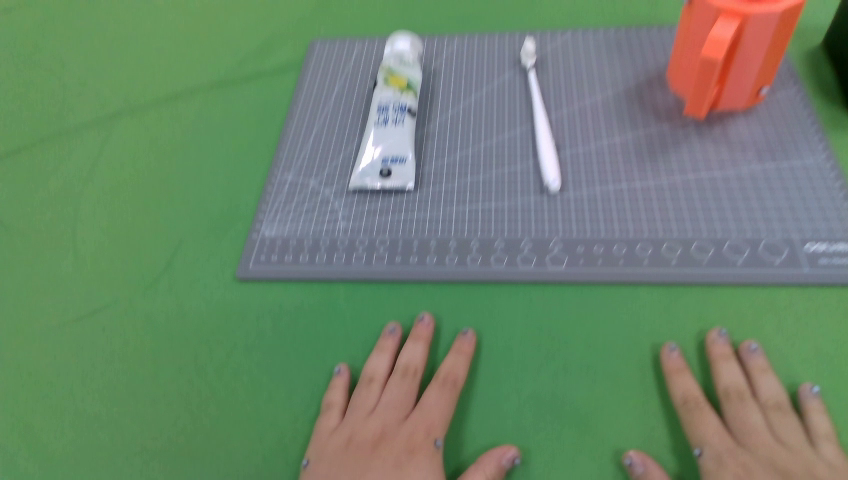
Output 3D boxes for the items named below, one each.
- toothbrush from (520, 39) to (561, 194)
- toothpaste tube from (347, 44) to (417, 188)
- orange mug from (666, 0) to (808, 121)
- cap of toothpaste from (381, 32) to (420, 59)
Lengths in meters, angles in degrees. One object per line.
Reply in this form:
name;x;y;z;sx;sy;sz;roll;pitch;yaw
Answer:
toothbrush;0.098;-0.111;0.514;0.014;0.017;0.180;3;54;-7
toothpaste tube;-0.030;-0.111;0.524;0.055;0.035;0.163;-2;57;11
orange mug;0.241;-0.157;0.481;0.083;0.102;0.126;24;55;23
cap of toothpaste;-0.022;-0.177;0.563;0.037;0.038;0.011;3;60;9
